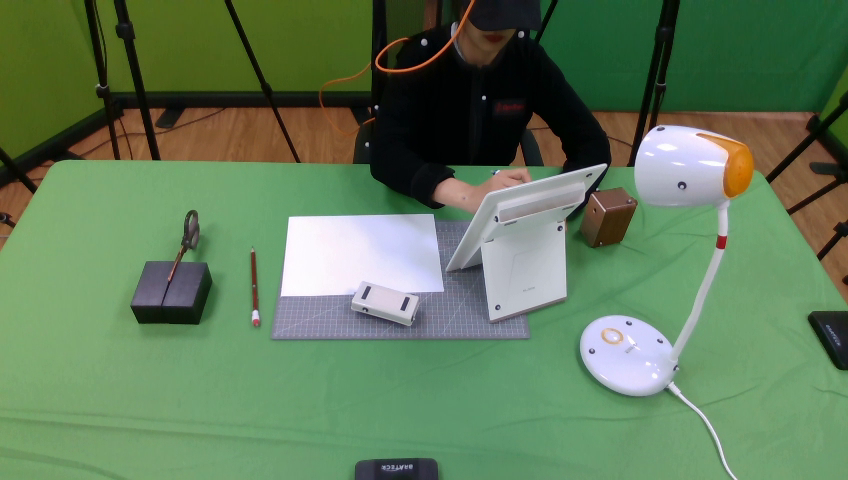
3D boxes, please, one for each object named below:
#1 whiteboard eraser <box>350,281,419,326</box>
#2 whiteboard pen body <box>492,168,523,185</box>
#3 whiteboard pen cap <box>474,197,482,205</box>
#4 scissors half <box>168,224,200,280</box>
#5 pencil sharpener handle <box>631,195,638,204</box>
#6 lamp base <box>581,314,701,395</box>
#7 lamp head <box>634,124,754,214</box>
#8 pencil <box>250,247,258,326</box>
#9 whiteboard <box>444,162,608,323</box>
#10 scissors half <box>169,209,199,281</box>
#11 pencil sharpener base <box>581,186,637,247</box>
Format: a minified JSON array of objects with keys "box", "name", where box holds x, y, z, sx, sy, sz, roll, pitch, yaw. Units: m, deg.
[{"box":[-0.069,0.113,1.065,0.112,0.042,0.055,14,46,9],"name":"whiteboard eraser"},{"box":[0.178,-0.095,1.081,0.017,0.017,0.140,-32,49,-30],"name":"whiteboard pen body"},{"box":[0.123,-0.079,1.287,0.033,0.018,0.018,26,50,22],"name":"whiteboard pen cap"},{"box":[-0.440,0.023,1.111,0.013,0.040,0.174,7,29,-6],"name":"scissors half"},{"box":[0.417,-0.068,1.215,0.031,0.068,0.036,-11,60,-15],"name":"pencil sharpener handle"},{"box":[0.361,0.144,0.973,0.178,0.181,0.160,34,53,23],"name":"lamp base"},{"box":[0.351,-0.089,0.776,0.112,0.113,0.122,-30,30,-28],"name":"lamp head"},{"box":[-0.312,0.079,1.107,0.012,0.012,0.192,-7,46,-11],"name":"pencil"},{"box":[0.186,0.025,1.029,0.217,0.306,0.143,-14,68,-17],"name":"whiteboard"},{"box":[-0.437,0.007,1.098,0.013,0.040,0.174,3,48,-3],"name":"scissors half"},{"box":[0.369,-0.047,1.209,0.077,0.107,0.061,-11,47,-15],"name":"pencil sharpener base"}]
